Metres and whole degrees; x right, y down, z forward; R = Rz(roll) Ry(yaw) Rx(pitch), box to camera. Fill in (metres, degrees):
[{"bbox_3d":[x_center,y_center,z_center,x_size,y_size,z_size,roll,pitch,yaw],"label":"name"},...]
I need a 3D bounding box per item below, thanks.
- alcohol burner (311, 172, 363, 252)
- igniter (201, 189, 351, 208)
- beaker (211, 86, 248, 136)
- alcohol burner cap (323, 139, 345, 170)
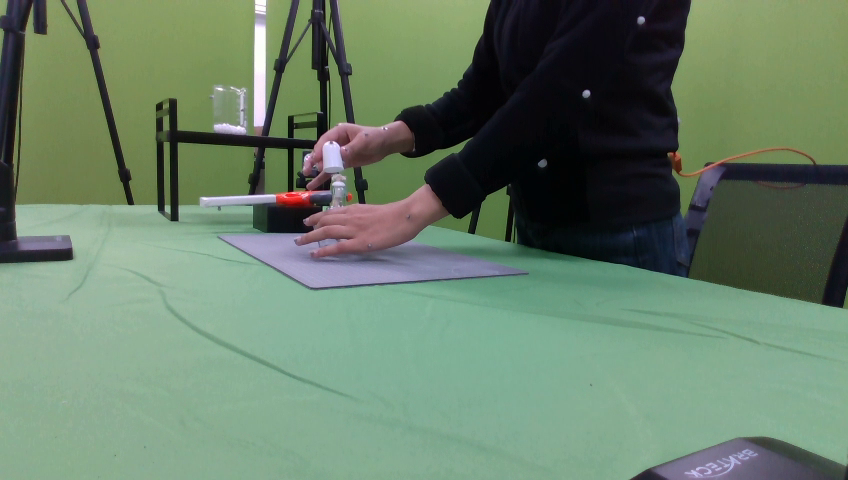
[{"bbox_3d":[-0.130,-0.042,0.905,0.078,0.119,0.078,2,6,0],"label":"alcohol burner"},{"bbox_3d":[-0.272,-0.078,1.138,0.278,0.025,0.057,-5,11,-28],"label":"igniter"},{"bbox_3d":[-0.414,-0.274,1.297,0.074,0.100,0.083,-5,11,-44],"label":"beaker"},{"bbox_3d":[-0.137,-0.130,0.919,0.034,0.048,0.034,0,5,0],"label":"alcohol burner cap"}]
